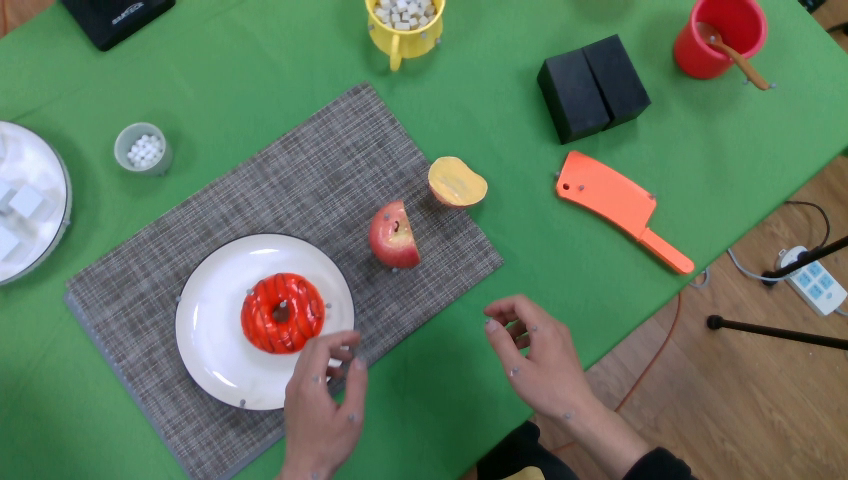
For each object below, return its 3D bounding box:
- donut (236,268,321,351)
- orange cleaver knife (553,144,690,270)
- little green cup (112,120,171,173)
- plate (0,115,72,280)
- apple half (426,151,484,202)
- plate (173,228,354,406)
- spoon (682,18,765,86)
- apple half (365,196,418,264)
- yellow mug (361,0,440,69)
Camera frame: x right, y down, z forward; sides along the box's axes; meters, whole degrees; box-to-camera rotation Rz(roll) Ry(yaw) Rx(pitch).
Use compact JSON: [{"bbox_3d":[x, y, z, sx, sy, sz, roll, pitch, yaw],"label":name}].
[{"bbox_3d":[-0.170,0.082,0.712,0.099,0.048,0.098,0,83,-3],"label":"donut"},{"bbox_3d":[0.257,-0.044,0.773,0.211,0.012,0.077,37,76,5],"label":"orange cleaver knife"},{"bbox_3d":[-0.347,-0.113,0.751,0.061,0.039,0.061,0,81,-2],"label":"little green cup"},{"bbox_3d":[-0.530,-0.048,0.734,0.208,0.039,0.207,0,81,-2],"label":"plate"},{"bbox_3d":[0.032,-0.071,0.755,0.081,0.033,0.080,14,49,-16],"label":"apple half"},{"bbox_3d":[-0.187,0.090,0.721,0.209,0.038,0.208,0,81,-2],"label":"plate"},{"bbox_3d":[0.368,-0.235,0.745,0.041,0.022,0.192,-3,36,-1],"label":"spoon"},{"bbox_3d":[-0.042,-0.007,0.725,0.053,0.075,0.080,-18,85,-1],"label":"apple half"},{"bbox_3d":[-0.033,-0.284,0.776,0.100,0.064,0.130,10,82,-1],"label":"yellow mug"}]
